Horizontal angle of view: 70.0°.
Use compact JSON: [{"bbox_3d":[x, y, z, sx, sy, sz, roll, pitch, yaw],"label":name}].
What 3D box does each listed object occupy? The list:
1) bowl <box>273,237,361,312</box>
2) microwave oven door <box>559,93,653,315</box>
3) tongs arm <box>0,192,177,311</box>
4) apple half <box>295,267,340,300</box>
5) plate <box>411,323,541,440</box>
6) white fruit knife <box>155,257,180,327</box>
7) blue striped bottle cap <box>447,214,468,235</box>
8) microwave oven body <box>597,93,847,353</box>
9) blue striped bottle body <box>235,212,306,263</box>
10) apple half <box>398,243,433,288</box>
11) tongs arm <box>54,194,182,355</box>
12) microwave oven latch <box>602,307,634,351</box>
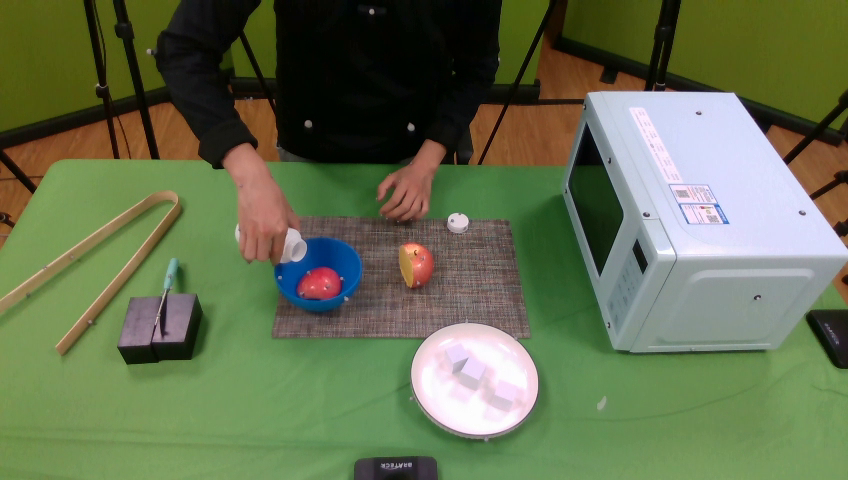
[{"bbox_3d":[-0.186,0.074,1.070,0.151,0.077,0.150,3,46,-2],"label":"bowl"},{"bbox_3d":[0.327,-0.074,1.123,0.039,0.245,0.353,-1,46,-5],"label":"microwave oven door"},{"bbox_3d":[-0.618,0.019,1.124,0.050,0.026,0.384,24,47,16],"label":"tongs arm"},{"bbox_3d":[-0.187,0.070,1.067,0.081,0.033,0.081,3,47,-3],"label":"apple half"},{"bbox_3d":[0.082,0.228,0.976,0.208,0.039,0.206,2,45,-2],"label":"plate"},{"bbox_3d":[-0.440,0.085,1.037,0.016,0.027,0.206,10,26,-19],"label":"white fruit knife"},{"bbox_3d":[0.069,-0.033,1.239,0.044,0.021,0.044,0,46,0],"label":"blue striped bottle cap"},{"bbox_3d":[0.475,-0.041,1.109,0.326,0.261,0.438,-1,45,-4],"label":"microwave oven body"},{"bbox_3d":[-0.258,-0.001,1.035,0.120,0.063,0.063,22,48,27],"label":"blue striped bottle body"},{"bbox_3d":[-0.012,0.046,1.115,0.053,0.075,0.080,-11,44,-20],"label":"apple half"},{"bbox_3d":[-0.543,0.049,1.108,0.028,0.028,0.385,11,46,10],"label":"tongs arm"},{"bbox_3d":[0.332,0.153,1.044,0.030,0.029,0.078,-1,45,-4],"label":"microwave oven latch"}]
